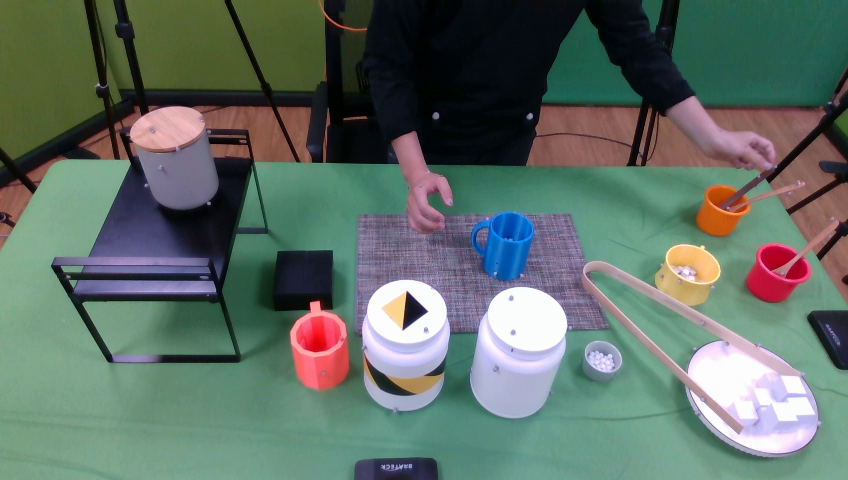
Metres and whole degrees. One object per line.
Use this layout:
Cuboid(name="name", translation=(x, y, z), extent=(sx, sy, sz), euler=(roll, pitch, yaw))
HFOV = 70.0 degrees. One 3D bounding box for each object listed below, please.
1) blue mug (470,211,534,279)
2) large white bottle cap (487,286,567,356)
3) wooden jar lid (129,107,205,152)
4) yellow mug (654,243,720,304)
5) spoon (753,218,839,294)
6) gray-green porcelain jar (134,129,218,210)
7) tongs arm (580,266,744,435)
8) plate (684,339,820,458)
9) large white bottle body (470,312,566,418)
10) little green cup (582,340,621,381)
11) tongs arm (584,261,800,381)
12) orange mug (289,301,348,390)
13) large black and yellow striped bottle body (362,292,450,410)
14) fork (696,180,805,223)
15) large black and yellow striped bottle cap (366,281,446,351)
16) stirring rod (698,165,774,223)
Cuboid(name="blue mug", translation=(0.141, 0.005, 1.140), extent=(0.116, 0.106, 0.082), euler=(18, 48, 13))
Cuboid(name="large white bottle cap", translation=(0.147, 0.114, 0.869), extent=(0.115, 0.018, 0.114), euler=(3, 46, -3))
Cuboid(name="wooden jar lid", translation=(-0.385, -0.163, 0.915), extent=(0.108, 0.021, 0.107), euler=(2, 47, -2))
Cuboid(name="yellow mug", translation=(0.504, 0.054, 1.154), extent=(0.099, 0.064, 0.130), euler=(28, 49, 22))
Cuboid(name="spoon", translation=(0.700, 0.031, 1.138), extent=(0.194, 0.022, 0.041), euler=(-47, 55, 14))
Cuboid(name="gray-green porcelain jar", translation=(-0.388, -0.120, 0.960), extent=(0.106, 0.127, 0.105), euler=(2, 46, -2))
Cuboid(name="tongs arm", translation=(0.384, 0.173, 1.028), extent=(0.028, 0.028, 0.385), euler=(-25, 46, -15))
Cuboid(name="plate", translation=(0.523, 0.256, 0.982), extent=(0.208, 0.039, 0.206), euler=(2, 46, -2))
Cuboid(name="large white bottle body", translation=(0.143, 0.173, 0.930), extent=(0.131, 0.185, 0.130), euler=(2, 46, -2))
Cuboid(name="little green cup", translation=(0.295, 0.204, 1.015), extent=(0.061, 0.039, 0.061), euler=(2, 45, -2))
Cuboid(name="tongs arm", translation=(0.452, 0.137, 1.064), extent=(0.051, 0.027, 0.382), euler=(-34, 50, -27))
Cuboid(name="orange mug", translation=(-0.170, 0.162, 0.976), extent=(0.083, 0.101, 0.125), euler=(-7, 52, -11))
Cuboid(name="large black and yellow striped bottle body", translation=(-0.029, 0.163, 0.928), extent=(0.131, 0.185, 0.130), euler=(2, 47, -2))
Cuboid(name="fork", translation=(0.660, -0.078, 1.233), extent=(0.207, 0.019, 0.028), euler=(-26, 39, 33))
Cuboid(name="large black and yellow striped bottle cap", translation=(-0.025, 0.106, 0.865), extent=(0.115, 0.019, 0.114), euler=(2, 46, -1))
Cuboid(name="stirring rod", translation=(0.643, -0.094, 1.253), extent=(0.176, 0.006, 0.014), euler=(-41, 54, 15))
